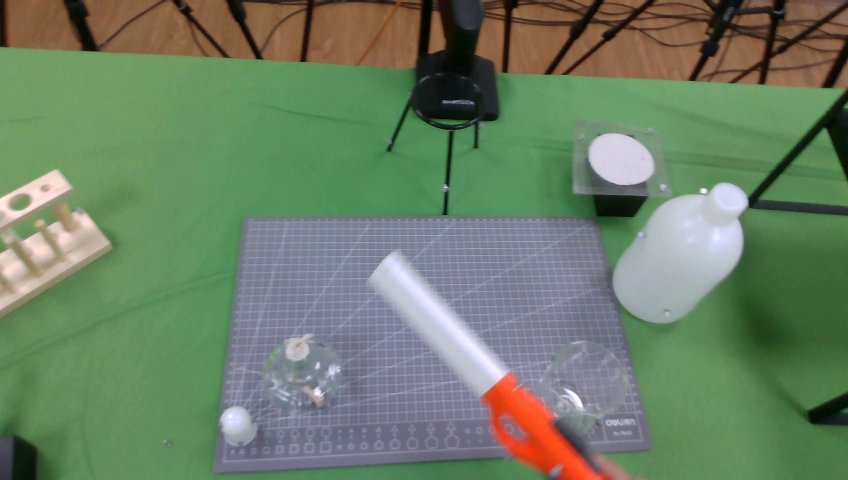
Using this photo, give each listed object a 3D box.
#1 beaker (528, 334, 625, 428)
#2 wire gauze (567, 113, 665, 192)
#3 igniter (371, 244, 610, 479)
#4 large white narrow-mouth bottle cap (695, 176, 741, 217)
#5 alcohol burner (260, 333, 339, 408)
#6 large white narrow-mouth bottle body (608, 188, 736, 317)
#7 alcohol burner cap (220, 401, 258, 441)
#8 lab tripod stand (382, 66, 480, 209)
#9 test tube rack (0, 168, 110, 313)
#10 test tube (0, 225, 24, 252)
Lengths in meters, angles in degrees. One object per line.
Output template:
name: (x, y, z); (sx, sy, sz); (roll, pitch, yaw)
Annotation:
beaker: (0.146, 0.150, 0.616); (0.084, 0.101, 0.073); (-3, 59, -7)
wire gauze: (0.245, -0.113, 0.785); (0.121, 0.011, 0.124); (6, 58, -3)
igniter: (0.058, 0.115, 0.458); (0.275, 0.057, 0.025); (48, 33, 9)
large white narrow-mouth bottle cap: (0.287, -0.043, 0.594); (0.038, 0.024, 0.037); (3, 58, -4)
alcohol burner: (-0.122, 0.121, 0.594); (0.078, 0.120, 0.077); (4, 57, -6)
large white narrow-mouth bottle body: (0.280, 0.004, 0.667); (0.102, 0.196, 0.101); (3, 58, -4)
alcohol burner cap: (-0.184, 0.176, 0.595); (0.034, 0.048, 0.033); (2, 60, -4)
lab tripod stand: (0.017, -0.134, 0.757); (0.148, 0.132, 0.147); (4, 59, -6)
test tube rack: (-0.469, 0.032, 0.626); (0.242, 0.086, 0.066); (-38, 70, -25)
test tube: (-0.441, -0.031, 0.609); (0.017, 0.151, 0.017); (4, 55, -5)
